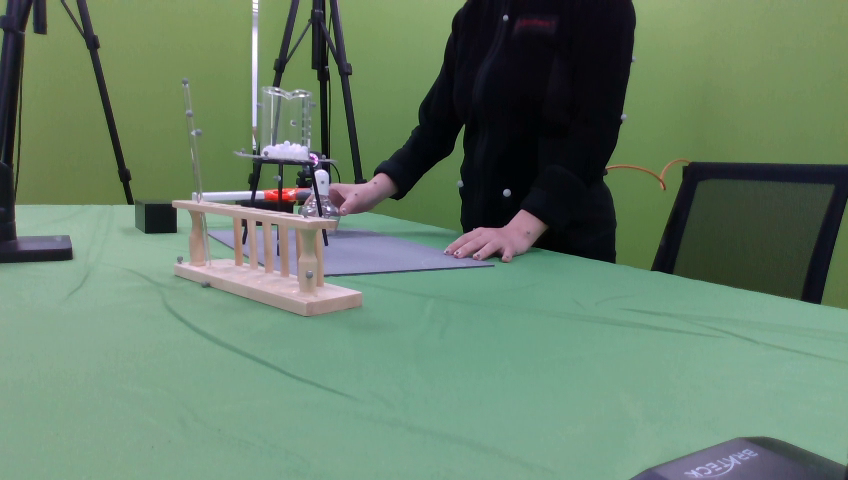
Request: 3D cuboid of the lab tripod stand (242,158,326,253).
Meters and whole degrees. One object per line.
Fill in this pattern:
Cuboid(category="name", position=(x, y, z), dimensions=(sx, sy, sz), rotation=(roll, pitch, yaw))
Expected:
Cuboid(category="lab tripod stand", position=(-0.207, -0.054, 0.895), dimensions=(0.148, 0.131, 0.148), rotation=(3, 5, 0))

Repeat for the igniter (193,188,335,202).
Cuboid(category="igniter", position=(-0.312, -0.089, 1.209), dimensions=(0.278, 0.025, 0.057), rotation=(-5, 13, -31))

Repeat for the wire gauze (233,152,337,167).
Cuboid(category="wire gauze", position=(-0.205, -0.119, 0.887), dimensions=(0.122, 0.011, 0.124), rotation=(2, 4, -32))

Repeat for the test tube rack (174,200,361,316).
Cuboid(category="test tube rack", position=(-0.169, 0.009, 0.622), dimensions=(0.241, 0.085, 0.067), rotation=(9, 9, 41))

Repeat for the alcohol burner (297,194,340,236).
Cuboid(category="alcohol burner", position=(-0.187, -0.066, 1.078), dimensions=(0.078, 0.119, 0.078), rotation=(2, 6, 0))

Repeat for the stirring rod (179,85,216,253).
Cuboid(category="stirring rod", position=(-0.237, -0.073, 0.634), dimensions=(0.006, 0.176, 0.014), rotation=(0, 10, 42))

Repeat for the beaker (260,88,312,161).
Cuboid(category="beaker", position=(-0.201, -0.166, 0.876), dimensions=(0.074, 0.100, 0.083), rotation=(1, 7, -18))

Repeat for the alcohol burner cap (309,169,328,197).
Cuboid(category="alcohol burner cap", position=(-0.186, -0.102, 1.073), dimensions=(0.034, 0.048, 0.034), rotation=(3, 2, 0))
